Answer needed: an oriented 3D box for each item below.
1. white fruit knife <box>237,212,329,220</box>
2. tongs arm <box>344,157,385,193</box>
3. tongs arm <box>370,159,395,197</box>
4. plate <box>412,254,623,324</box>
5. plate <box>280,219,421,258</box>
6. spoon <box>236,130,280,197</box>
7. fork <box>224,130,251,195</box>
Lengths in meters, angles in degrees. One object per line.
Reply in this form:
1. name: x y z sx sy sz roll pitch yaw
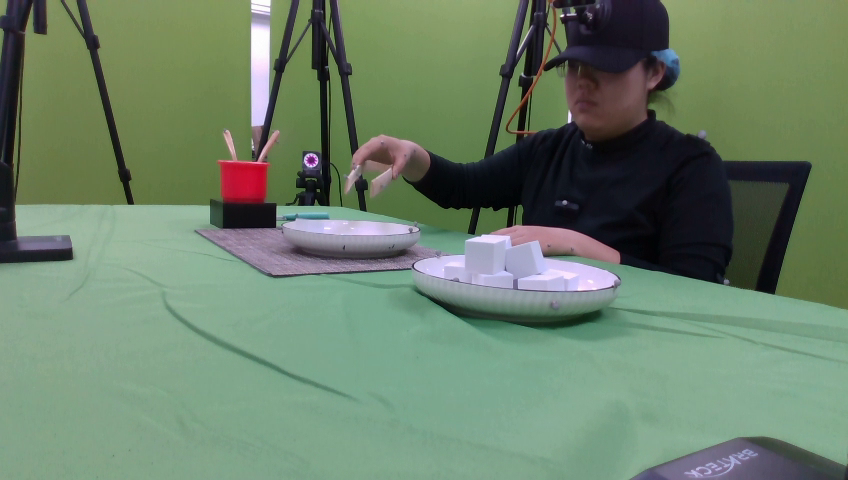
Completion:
1. white fruit knife: -0.304 -0.050 1.328 0.208 0.016 0.027 -3 -19 -29
2. tongs arm: -0.098 -0.117 1.050 0.051 0.026 0.384 6 12 -4
3. tongs arm: -0.073 -0.113 1.050 0.028 0.028 0.387 3 12 1
4. plate: 0.090 0.047 0.609 0.209 0.038 0.209 2 7 0
5. plate: -0.108 -0.002 0.902 0.208 0.039 0.207 3 7 0
6. spoon: -0.321 -0.154 1.192 0.041 0.193 0.022 0 -37 19
7. fork: -0.372 -0.155 1.193 0.028 0.018 0.206 -17 54 -13
